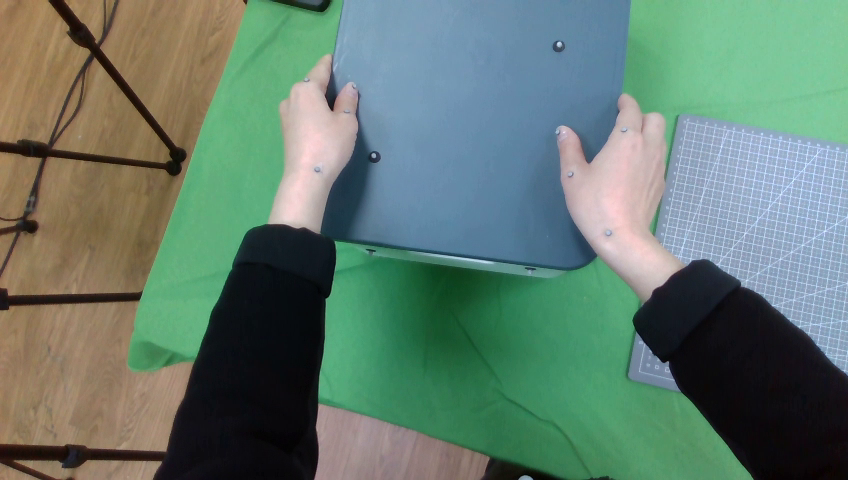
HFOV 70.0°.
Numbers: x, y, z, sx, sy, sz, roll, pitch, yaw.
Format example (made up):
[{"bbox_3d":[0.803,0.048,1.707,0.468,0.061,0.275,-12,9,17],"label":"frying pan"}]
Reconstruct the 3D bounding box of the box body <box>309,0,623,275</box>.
[{"bbox_3d":[0.052,-0.154,0.621,0.254,0.161,0.363,7,82,6],"label":"box body"}]

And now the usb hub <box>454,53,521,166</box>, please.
[{"bbox_3d":[0.071,-0.146,0.675,0.049,0.025,0.124,13,76,9],"label":"usb hub"}]

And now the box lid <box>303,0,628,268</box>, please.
[{"bbox_3d":[0.044,-0.166,0.547,0.263,0.015,0.370,7,81,6],"label":"box lid"}]
